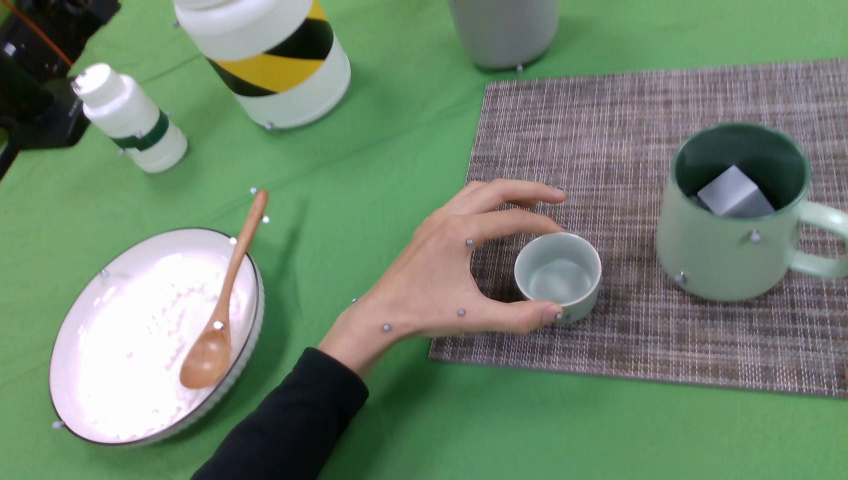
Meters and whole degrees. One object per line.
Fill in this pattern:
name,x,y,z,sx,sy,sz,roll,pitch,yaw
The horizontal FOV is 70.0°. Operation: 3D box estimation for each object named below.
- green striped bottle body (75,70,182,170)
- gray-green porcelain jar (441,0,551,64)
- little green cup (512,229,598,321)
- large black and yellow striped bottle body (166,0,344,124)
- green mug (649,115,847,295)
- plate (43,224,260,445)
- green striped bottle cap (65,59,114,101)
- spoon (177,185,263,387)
green striped bottle body,-0.326,-0.135,0.658,0.063,0.120,0.062,-9,57,14
gray-green porcelain jar,0.068,-0.248,0.592,0.105,0.128,0.105,-8,57,14
little green cup,0.097,0.028,0.442,0.061,0.039,0.061,-10,53,14
large black and yellow striped bottle body,-0.175,-0.225,0.623,0.130,0.186,0.129,-8,57,14
green mug,0.217,-0.015,0.406,0.124,0.106,0.092,24,69,29
plate,-0.238,0.081,0.545,0.209,0.038,0.207,-8,57,13
green striped bottle cap,-0.340,-0.163,0.616,0.044,0.020,0.044,-7,59,12
spoon,-0.173,0.034,0.533,0.041,0.022,0.192,4,69,19
